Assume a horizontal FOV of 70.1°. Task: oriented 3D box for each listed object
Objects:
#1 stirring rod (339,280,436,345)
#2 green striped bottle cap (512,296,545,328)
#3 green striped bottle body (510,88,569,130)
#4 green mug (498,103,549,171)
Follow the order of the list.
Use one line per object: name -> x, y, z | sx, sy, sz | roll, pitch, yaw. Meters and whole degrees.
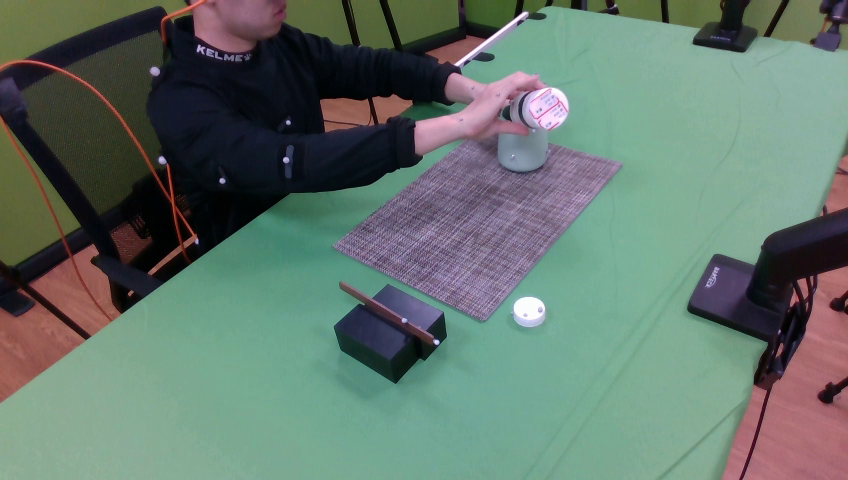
stirring rod -> -0.052, 0.093, 0.795 | 0.174, 0.014, 0.006 | 27, 47, 33
green striped bottle cap -> 0.144, 0.099, 0.837 | 0.044, 0.020, 0.044 | -2, 44, 2
green striped bottle body -> 0.180, -0.211, 0.976 | 0.063, 0.063, 0.118 | -16, 14, -10
green mug -> 0.182, -0.197, 1.101 | 0.092, 0.105, 0.125 | 3, 42, 12
